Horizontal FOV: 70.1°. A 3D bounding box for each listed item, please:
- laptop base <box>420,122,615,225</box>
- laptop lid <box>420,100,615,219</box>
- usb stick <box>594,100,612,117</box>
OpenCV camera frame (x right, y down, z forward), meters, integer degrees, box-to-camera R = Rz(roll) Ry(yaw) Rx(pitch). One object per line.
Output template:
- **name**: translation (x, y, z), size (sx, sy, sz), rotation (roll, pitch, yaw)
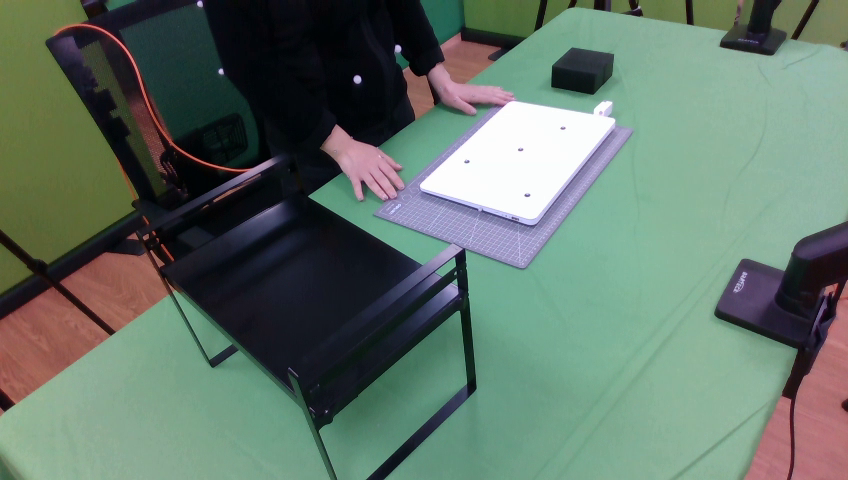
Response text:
- **laptop base**: translation (0.184, -0.157, 1.132), size (0.234, 0.023, 0.355), rotation (18, 46, 31)
- **laptop lid**: translation (0.180, -0.166, 1.126), size (0.240, 0.013, 0.357), rotation (20, 47, 31)
- **usb stick**: translation (0.354, -0.254, 1.204), size (0.021, 0.027, 0.059), rotation (20, 47, 30)
